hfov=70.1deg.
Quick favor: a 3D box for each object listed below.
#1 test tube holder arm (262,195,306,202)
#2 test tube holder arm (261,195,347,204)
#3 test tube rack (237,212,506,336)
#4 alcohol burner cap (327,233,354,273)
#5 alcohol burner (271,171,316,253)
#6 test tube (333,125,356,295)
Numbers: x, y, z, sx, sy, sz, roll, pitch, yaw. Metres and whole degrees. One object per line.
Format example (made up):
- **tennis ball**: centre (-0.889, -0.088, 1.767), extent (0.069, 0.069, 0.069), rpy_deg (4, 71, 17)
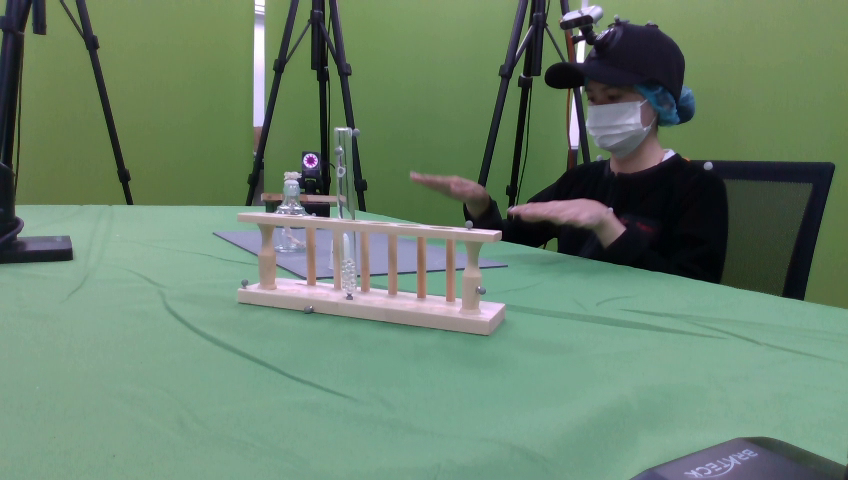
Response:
- **test tube holder arm**: centre (-0.278, -0.082, 1.203), extent (0.088, 0.015, 0.010), rpy_deg (0, 8, -30)
- **test tube holder arm**: centre (-0.242, -0.083, 1.232), extent (0.179, 0.015, 0.013), rpy_deg (-1, 8, -32)
- **test tube rack**: centre (-0.049, 0.024, 0.552), extent (0.242, 0.085, 0.067), rpy_deg (5, 8, 19)
- **alcohol burner cap**: centre (-0.104, 0.015, 0.752), extent (0.034, 0.048, 0.034), rpy_deg (3, 6, 0)
- **alcohol burner**: centre (-0.196, -0.041, 0.884), extent (0.078, 0.119, 0.078), rpy_deg (3, 5, 0)
- **test tube**: centre (-0.070, -0.025, 0.533), extent (0.017, 0.150, 0.017), rpy_deg (-1, 11, 0)
